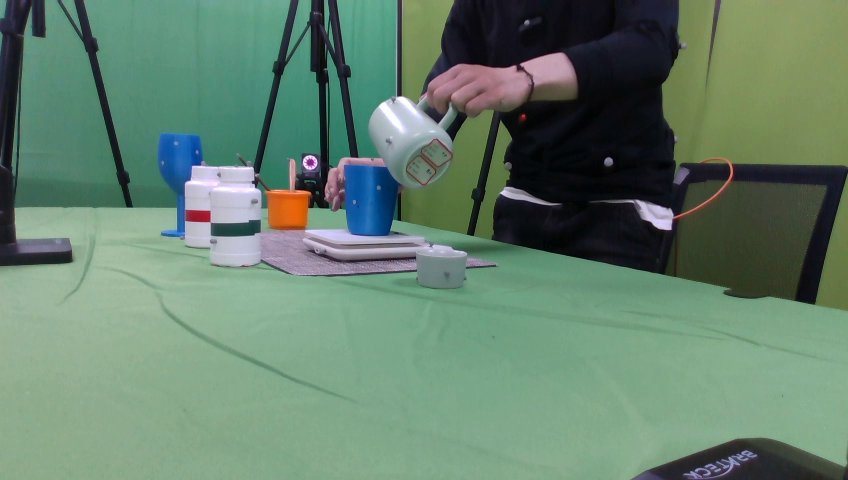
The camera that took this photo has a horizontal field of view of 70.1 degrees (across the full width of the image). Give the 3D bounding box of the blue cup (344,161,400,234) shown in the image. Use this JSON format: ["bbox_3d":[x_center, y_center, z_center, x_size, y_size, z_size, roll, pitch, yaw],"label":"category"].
[{"bbox_3d":[-0.078,-0.062,0.884,0.093,0.100,0.092,4,5,0],"label":"blue cup"}]

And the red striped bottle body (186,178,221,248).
[{"bbox_3d":[-0.331,-0.050,0.927,0.063,0.119,0.063,2,6,0],"label":"red striped bottle body"}]

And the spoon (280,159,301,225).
[{"bbox_3d":[-0.273,-0.102,1.252,0.042,0.193,0.021,7,-38,-17],"label":"spoon"}]

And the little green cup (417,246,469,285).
[{"bbox_3d":[0.021,0.029,0.701,0.061,0.038,0.061,2,6,0],"label":"little green cup"}]

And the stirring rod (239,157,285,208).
[{"bbox_3d":[-0.309,-0.098,1.209,0.006,0.177,0.014,-38,29,-3],"label":"stirring rod"}]

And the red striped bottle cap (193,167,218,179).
[{"bbox_3d":[-0.329,-0.103,0.921,0.044,0.017,0.044,0,8,0],"label":"red striped bottle cap"}]

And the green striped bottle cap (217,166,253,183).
[{"bbox_3d":[-0.242,-0.085,0.776,0.044,0.020,0.044,2,8,0],"label":"green striped bottle cap"}]

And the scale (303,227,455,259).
[{"bbox_3d":[-0.067,0.001,0.906,0.202,0.031,0.148,-2,8,-31],"label":"scale"}]

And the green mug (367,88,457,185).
[{"bbox_3d":[-0.008,-0.146,0.803,0.093,0.125,0.104,32,17,-49],"label":"green mug"}]

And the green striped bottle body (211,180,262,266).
[{"bbox_3d":[-0.243,-0.029,0.784,0.063,0.119,0.063,2,7,0],"label":"green striped bottle body"}]

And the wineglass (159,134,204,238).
[{"bbox_3d":[-0.415,-0.093,1.039,0.074,0.172,0.073,2,7,0],"label":"wineglass"}]
